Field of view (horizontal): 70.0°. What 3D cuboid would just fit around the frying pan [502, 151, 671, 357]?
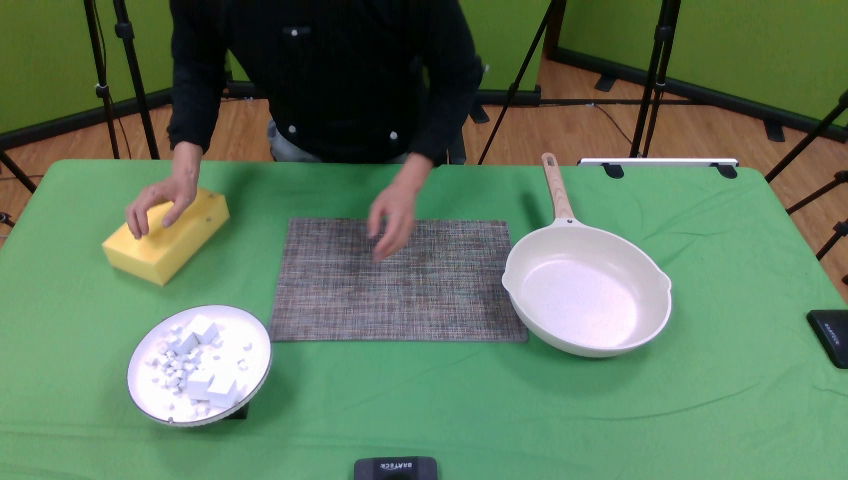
[{"bbox_3d":[0.281,0.008,1.154,0.307,0.103,0.484,1,54,-6],"label":"frying pan"}]

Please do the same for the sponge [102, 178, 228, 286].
[{"bbox_3d":[-0.485,-0.020,1.153,0.118,0.061,0.206,18,47,13],"label":"sponge"}]

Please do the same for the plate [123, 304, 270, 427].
[{"bbox_3d":[-0.337,0.189,0.913,0.208,0.039,0.206,1,46,-1],"label":"plate"}]
